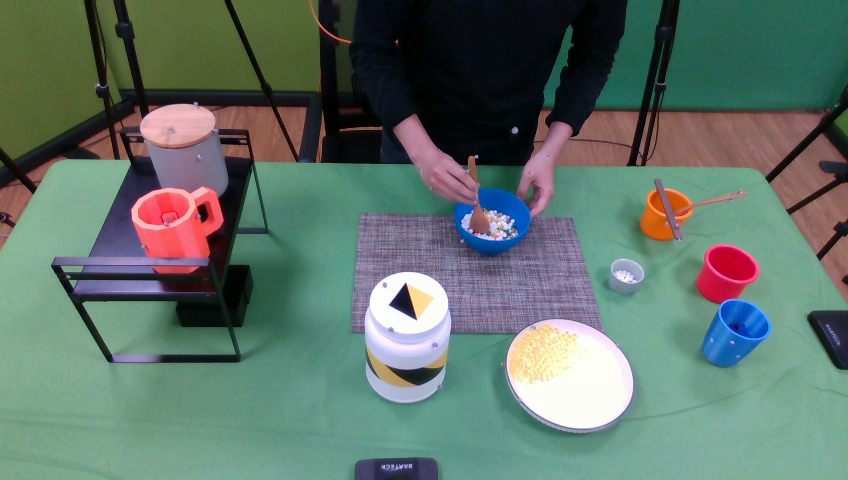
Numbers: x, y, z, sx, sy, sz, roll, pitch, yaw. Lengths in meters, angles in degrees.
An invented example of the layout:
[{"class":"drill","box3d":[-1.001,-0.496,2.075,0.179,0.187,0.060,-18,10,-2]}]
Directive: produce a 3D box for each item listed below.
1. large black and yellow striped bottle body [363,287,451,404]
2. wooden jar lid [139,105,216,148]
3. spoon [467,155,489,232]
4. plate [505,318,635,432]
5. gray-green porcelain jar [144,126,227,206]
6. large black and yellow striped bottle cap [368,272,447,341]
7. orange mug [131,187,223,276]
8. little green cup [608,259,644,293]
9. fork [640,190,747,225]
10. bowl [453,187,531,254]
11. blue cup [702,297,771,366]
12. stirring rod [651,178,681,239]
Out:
[{"class":"large black and yellow striped bottle body","box3d":[-0.027,0.153,0.935,0.131,0.185,0.130,2,46,-2]},{"class":"wooden jar lid","box3d":[-0.372,-0.169,0.920,0.108,0.021,0.107,4,43,-4]},{"class":"spoon","box3d":[0.093,-0.082,1.120,0.041,0.195,0.021,-1,43,12]},{"class":"plate","box3d":[0.235,0.221,0.991,0.209,0.038,0.208,2,46,-2]},{"class":"gray-green porcelain jar","box3d":[-0.375,-0.125,0.967,0.106,0.127,0.105,2,46,-2]},{"class":"large black and yellow striped bottle cap","box3d":[-0.023,0.093,0.875,0.115,0.019,0.114,3,46,-3]},{"class":"orange mug","box3d":[-0.354,-0.022,0.888,0.083,0.101,0.126,31,55,24]},{"class":"little green cup","box3d":[0.379,0.070,1.147,0.061,0.039,0.061,3,45,-2]},{"class":"fork","box3d":[0.533,-0.065,1.211,0.207,0.019,0.028,-22,28,39]},{"class":"bowl","box3d":[0.128,-0.025,1.187,0.151,0.077,0.150,2,46,-2]},{"class":"blue cup","box3d":[0.519,0.162,1.025,0.093,0.101,0.092,3,45,-3]},{"class":"stirring rod","box3d":[0.479,-0.065,1.204,0.014,0.006,0.175,3,46,-4]}]
